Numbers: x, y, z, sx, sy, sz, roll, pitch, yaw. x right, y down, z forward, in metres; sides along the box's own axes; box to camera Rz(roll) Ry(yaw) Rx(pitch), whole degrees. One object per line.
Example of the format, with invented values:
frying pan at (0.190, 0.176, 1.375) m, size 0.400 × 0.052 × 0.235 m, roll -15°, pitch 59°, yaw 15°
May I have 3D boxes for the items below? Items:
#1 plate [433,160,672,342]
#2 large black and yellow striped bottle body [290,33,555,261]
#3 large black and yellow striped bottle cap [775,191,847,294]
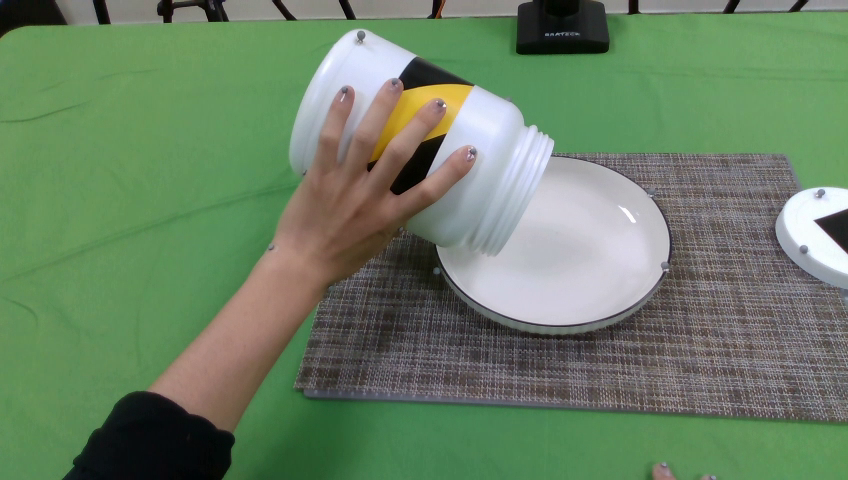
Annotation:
plate at (0.113, 0.008, 0.548) m, size 0.207 × 0.039 × 0.205 m, roll -3°, pitch 47°, yaw 3°
large black and yellow striped bottle body at (0.001, -0.071, 0.496) m, size 0.184 × 0.131 × 0.130 m, roll 27°, pitch 53°, yaw 0°
large black and yellow striped bottle cap at (0.379, 0.000, 0.542) m, size 0.115 × 0.019 × 0.114 m, roll 0°, pitch 49°, yaw 1°
